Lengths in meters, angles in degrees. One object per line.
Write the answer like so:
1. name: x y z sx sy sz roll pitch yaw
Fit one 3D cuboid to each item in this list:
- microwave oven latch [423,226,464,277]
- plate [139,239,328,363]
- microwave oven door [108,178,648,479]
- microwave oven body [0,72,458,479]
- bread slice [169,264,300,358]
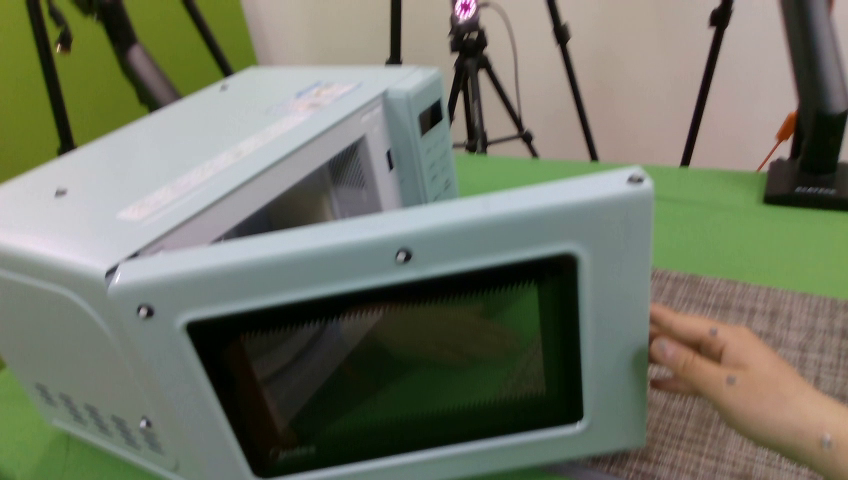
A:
1. microwave oven latch: 0.025 0.014 0.787 0.030 0.030 0.079 9 36 30
2. plate: -0.206 0.068 0.679 0.209 0.038 0.207 -9 30 5
3. microwave oven door: -0.013 0.095 0.455 0.356 0.246 0.039 -10 30 1
4. microwave oven body: -0.204 0.005 0.682 0.324 0.262 0.440 8 36 29
5. bread slice: -0.208 0.071 0.683 0.104 0.019 0.131 15 41 36
